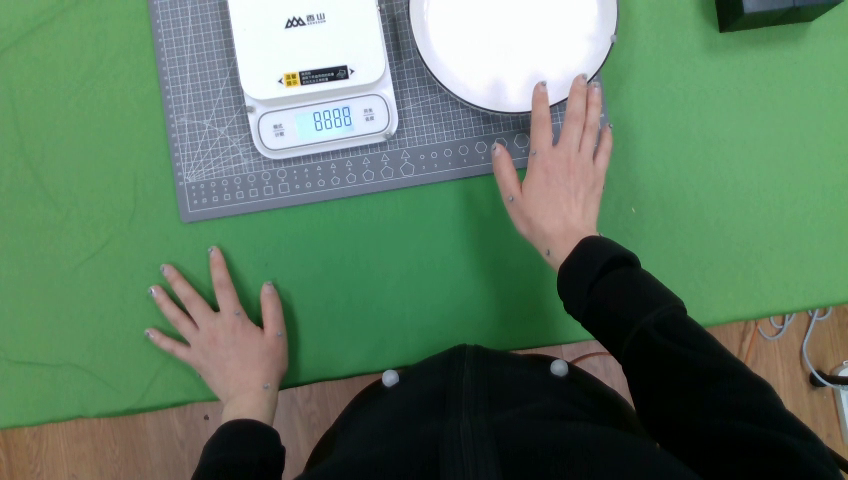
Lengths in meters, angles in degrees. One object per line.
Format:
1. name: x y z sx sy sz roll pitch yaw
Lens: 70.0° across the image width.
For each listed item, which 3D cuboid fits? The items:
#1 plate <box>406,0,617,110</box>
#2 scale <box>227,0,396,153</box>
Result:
1. plate: 0.087 -0.230 0.611 0.209 0.038 0.209 0 88 -1
2. scale: -0.115 -0.196 0.611 0.149 0.031 0.200 -10 89 -1
